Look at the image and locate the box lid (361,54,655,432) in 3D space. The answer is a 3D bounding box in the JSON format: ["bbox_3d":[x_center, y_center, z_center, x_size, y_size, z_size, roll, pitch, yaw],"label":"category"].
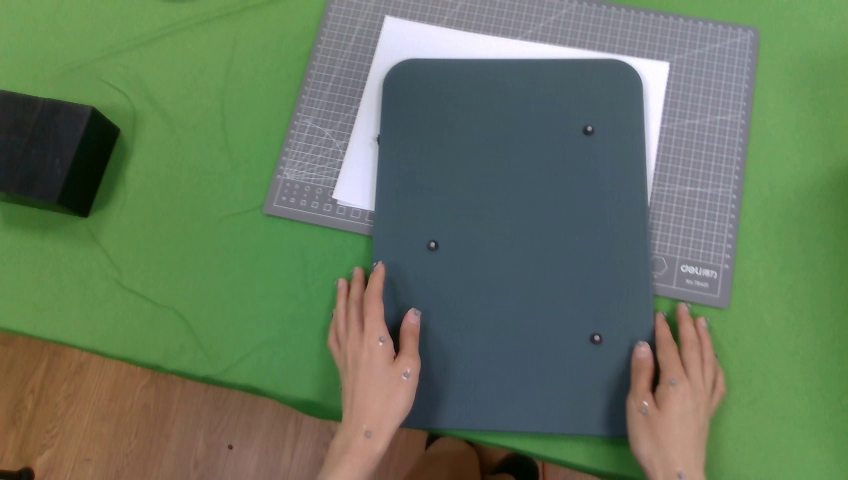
[{"bbox_3d":[0.079,-0.012,0.578,0.263,0.015,0.369,1,77,3],"label":"box lid"}]
